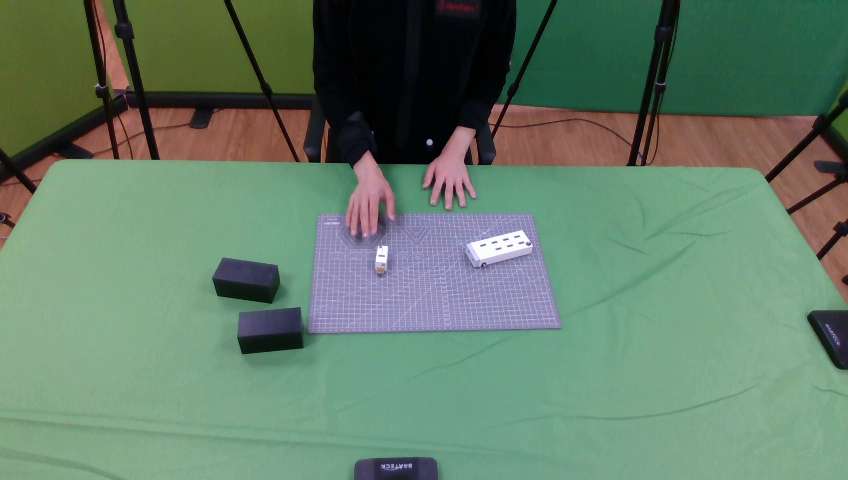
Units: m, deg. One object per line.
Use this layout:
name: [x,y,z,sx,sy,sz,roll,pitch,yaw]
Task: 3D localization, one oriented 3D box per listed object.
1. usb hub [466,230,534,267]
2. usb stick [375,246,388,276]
usb hub: [0.148,0.017,1.185,0.125,0.025,0.049,-14,49,-16]
usb stick: [-0.081,0.040,1.146,0.021,0.027,0.059,6,48,-1]
